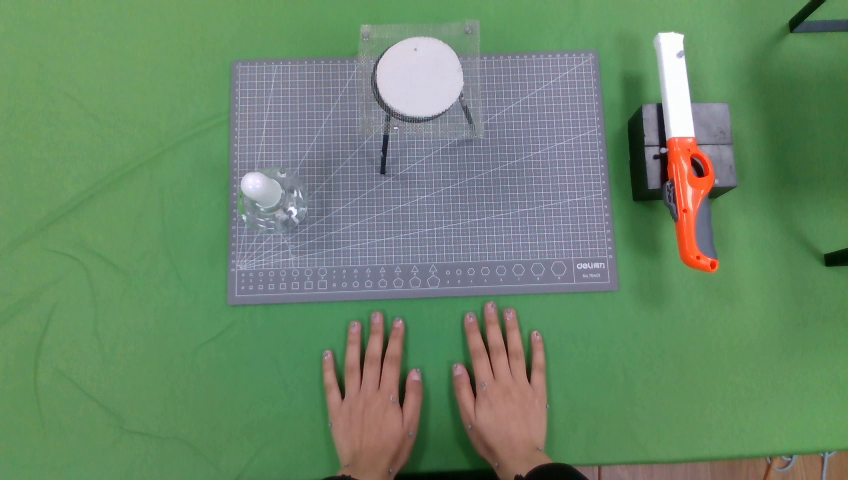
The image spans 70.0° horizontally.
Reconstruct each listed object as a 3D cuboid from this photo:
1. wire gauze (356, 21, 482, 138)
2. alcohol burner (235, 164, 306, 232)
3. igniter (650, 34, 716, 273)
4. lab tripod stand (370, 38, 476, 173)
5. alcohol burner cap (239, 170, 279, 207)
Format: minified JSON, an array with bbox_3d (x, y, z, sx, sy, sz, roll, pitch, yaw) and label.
[{"bbox_3d":[-0.005,-0.160,0.599,0.125,0.011,0.121,1,80,0],"label":"wire gauze"},{"bbox_3d":[-0.170,-0.049,0.656,0.078,0.119,0.077,0,81,0],"label":"alcohol burner"},{"bbox_3d":[0.285,-0.099,0.671,0.057,0.025,0.275,-2,77,-4],"label":"igniter"},{"bbox_3d":[-0.012,-0.152,0.666,0.148,0.132,0.148,0,79,1],"label":"lab tripod stand"},{"bbox_3d":[-0.172,-0.055,0.620,0.034,0.048,0.033,-1,79,7],"label":"alcohol burner cap"}]
